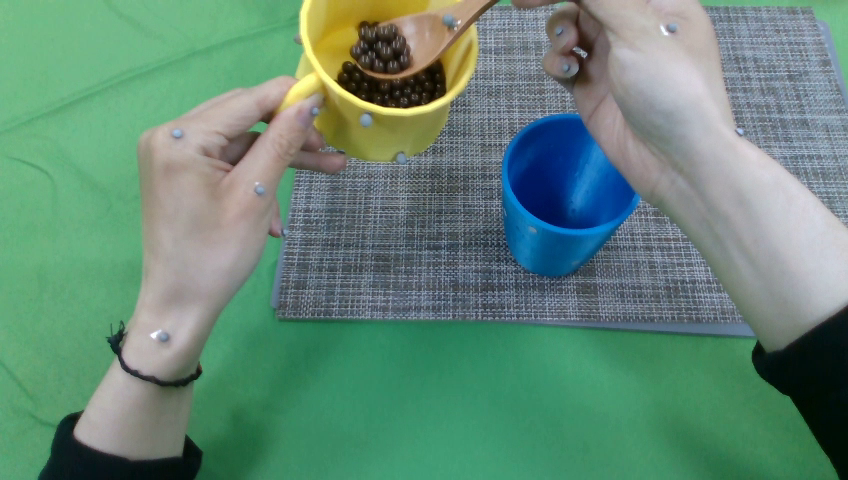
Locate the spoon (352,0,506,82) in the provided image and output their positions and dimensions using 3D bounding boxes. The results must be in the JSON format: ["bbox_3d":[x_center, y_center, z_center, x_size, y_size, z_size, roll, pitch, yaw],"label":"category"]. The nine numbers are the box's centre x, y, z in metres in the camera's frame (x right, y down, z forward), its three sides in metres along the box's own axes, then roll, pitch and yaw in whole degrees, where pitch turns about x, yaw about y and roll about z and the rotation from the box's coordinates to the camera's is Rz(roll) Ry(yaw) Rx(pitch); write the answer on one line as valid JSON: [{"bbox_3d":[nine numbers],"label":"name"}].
[{"bbox_3d":[0.050,-0.131,0.316,0.193,0.022,0.041,-22,62,17],"label":"spoon"}]

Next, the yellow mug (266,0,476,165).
[{"bbox_3d":[-0.037,-0.094,0.356,0.131,0.064,0.100,-38,86,-19],"label":"yellow mug"}]

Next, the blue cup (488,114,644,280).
[{"bbox_3d":[0.091,-0.019,0.406,0.092,0.101,0.092,-1,65,3],"label":"blue cup"}]
